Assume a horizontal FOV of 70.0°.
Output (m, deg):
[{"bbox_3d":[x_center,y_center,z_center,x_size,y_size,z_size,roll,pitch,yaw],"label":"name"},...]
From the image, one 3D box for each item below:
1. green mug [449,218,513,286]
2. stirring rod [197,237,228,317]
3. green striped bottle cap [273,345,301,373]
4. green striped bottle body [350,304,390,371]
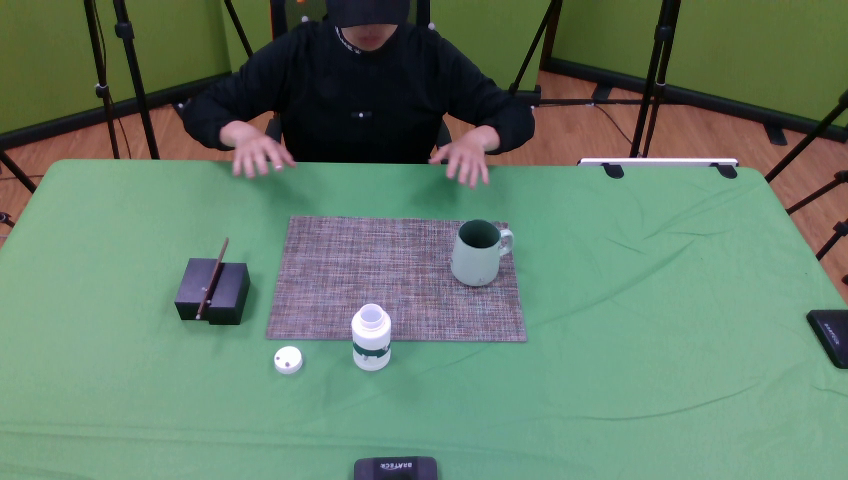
[{"bbox_3d":[0.110,0.018,1.126,0.125,0.105,0.092,-19,50,-21],"label":"green mug"},{"bbox_3d":[-0.364,0.060,1.047,0.006,0.014,0.175,7,46,-4],"label":"stirring rod"},{"bbox_3d":[-0.225,0.195,0.997,0.044,0.020,0.044,1,50,-1],"label":"green striped bottle cap"},{"bbox_3d":[-0.086,0.154,0.976,0.063,0.120,0.063,2,46,-2],"label":"green striped bottle body"}]
